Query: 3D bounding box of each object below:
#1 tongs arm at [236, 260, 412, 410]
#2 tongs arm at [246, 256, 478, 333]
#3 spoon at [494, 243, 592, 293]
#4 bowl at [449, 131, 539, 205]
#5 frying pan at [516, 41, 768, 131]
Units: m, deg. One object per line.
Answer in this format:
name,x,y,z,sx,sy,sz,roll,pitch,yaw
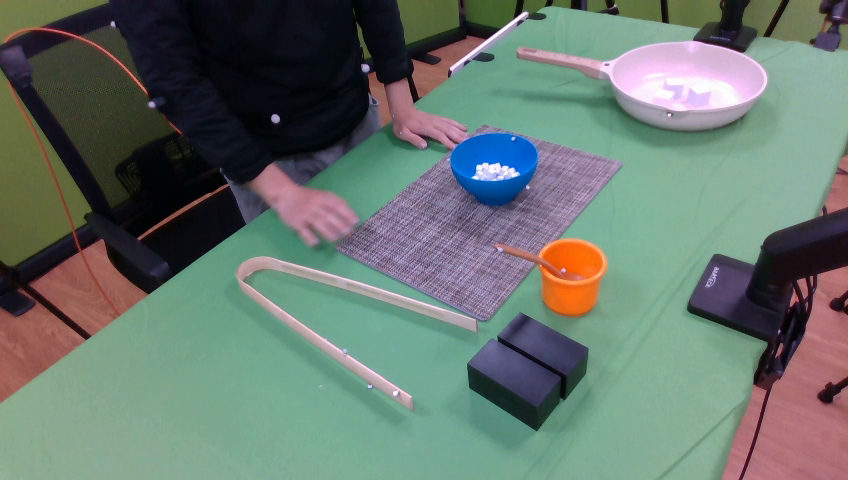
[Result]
tongs arm,-0.148,0.120,0.840,0.381,0.026,0.051,24,48,32
tongs arm,-0.101,0.077,0.891,0.385,0.028,0.028,14,47,22
spoon,0.162,0.034,0.808,0.021,0.195,0.041,-47,40,21
bowl,0.121,-0.114,1.034,0.151,0.077,0.150,-4,41,4
frying pan,0.424,-0.338,1.236,0.486,0.103,0.307,19,45,15
